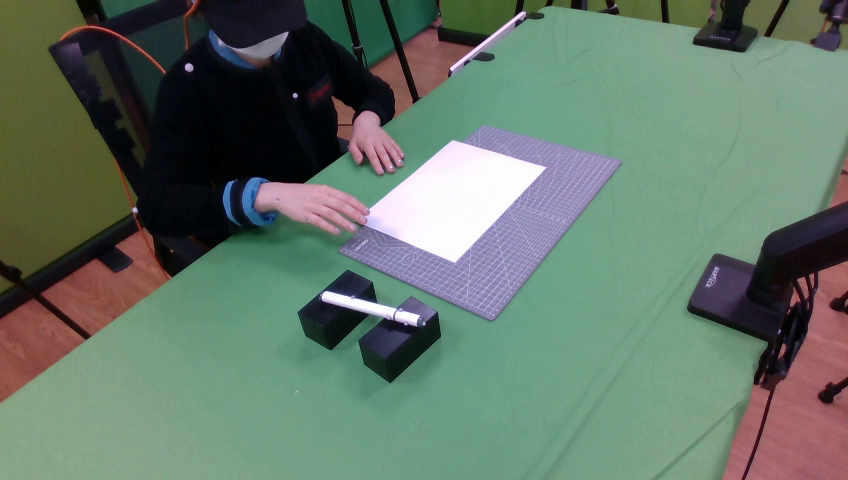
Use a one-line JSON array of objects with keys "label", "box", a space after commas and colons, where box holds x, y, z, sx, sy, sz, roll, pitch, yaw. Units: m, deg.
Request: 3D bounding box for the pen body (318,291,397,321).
[{"label": "pen body", "box": [-0.076, 0.089, 0.801, 0.143, 0.017, 0.017, 12, 44, 21]}]

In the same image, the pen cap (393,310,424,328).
[{"label": "pen cap", "box": [-0.019, 0.102, 0.778, 0.038, 0.017, 0.017, 12, 44, 21]}]
